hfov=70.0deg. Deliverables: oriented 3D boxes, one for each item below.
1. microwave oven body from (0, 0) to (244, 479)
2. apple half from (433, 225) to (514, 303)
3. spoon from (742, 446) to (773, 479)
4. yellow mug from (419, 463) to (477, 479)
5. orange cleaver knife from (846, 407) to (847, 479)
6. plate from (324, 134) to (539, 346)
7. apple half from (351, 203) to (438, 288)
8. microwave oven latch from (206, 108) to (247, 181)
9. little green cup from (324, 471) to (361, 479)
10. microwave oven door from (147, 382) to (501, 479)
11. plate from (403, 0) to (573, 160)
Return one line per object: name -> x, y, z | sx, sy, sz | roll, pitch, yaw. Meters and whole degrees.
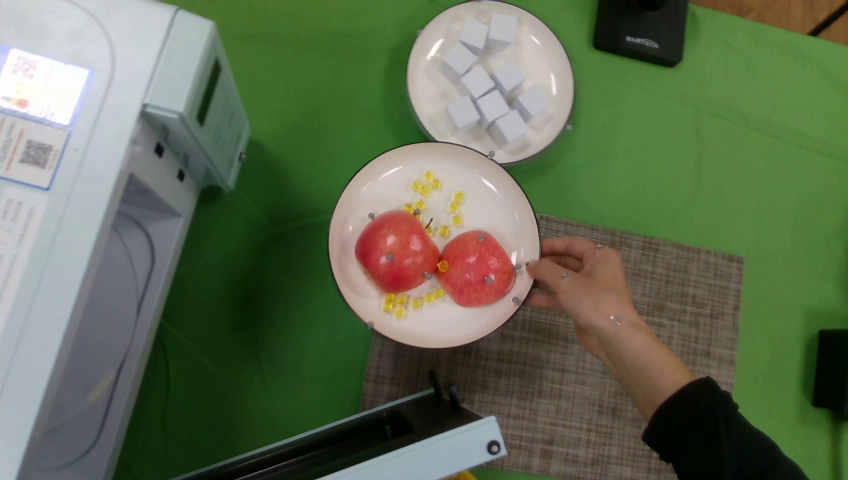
microwave oven body -> -0.382, 0.012, 0.513 | 0.327, 0.260, 0.440 | 14, 81, -8
apple half -> 0.049, 0.023, 0.590 | 0.081, 0.033, 0.081 | 1, 77, -2
spoon -> 0.441, 0.331, 0.732 | 0.041, 0.021, 0.193 | -36, 89, -30
yellow mug -> 0.002, 0.288, 0.641 | 0.100, 0.064, 0.130 | 21, 81, -6
orange cleaver knife -> 0.545, 0.213, 0.736 | 0.012, 0.077, 0.212 | 13, 104, -3
plate -> 0.007, 0.000, 0.597 | 0.209, 0.038, 0.208 | 1, 79, -6
apple half -> -0.029, 0.004, 0.576 | 0.074, 0.053, 0.080 | -31, 84, -8
microwave oven latch -> -0.215, -0.106, 0.656 | 0.030, 0.029, 0.079 | 16, 80, -7
little green cup -> -0.088, 0.276, 0.642 | 0.062, 0.038, 0.061 | 2, 81, -9
microwave oven door -> -0.130, 0.205, 0.524 | 0.356, 0.244, 0.039 | -16, 84, -11
plate -> 0.076, -0.194, 0.736 | 0.208, 0.039, 0.207 | 1, 82, -9
